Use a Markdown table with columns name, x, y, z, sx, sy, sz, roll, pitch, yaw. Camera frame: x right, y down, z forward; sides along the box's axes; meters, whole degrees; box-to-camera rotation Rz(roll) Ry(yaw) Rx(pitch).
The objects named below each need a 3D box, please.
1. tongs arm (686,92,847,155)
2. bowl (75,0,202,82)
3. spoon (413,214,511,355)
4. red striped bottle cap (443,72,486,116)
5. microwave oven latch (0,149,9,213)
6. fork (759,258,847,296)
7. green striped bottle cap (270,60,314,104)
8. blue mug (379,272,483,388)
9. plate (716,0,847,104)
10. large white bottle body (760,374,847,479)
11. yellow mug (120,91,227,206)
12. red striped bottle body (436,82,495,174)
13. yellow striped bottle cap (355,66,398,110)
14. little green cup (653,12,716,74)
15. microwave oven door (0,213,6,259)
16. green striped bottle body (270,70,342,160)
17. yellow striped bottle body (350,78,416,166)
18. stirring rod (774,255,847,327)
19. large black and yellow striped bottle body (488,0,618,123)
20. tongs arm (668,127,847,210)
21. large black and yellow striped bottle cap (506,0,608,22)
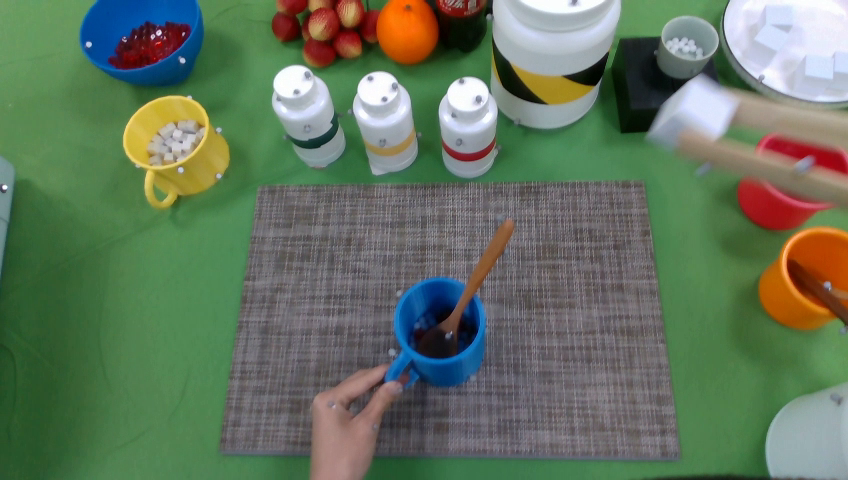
| name | x | y | z | sx | sy | sz | roll | pitch | yaw |
| --- | --- | --- | --- | --- | --- | --- | --- | --- | --- |
| tongs arm | 0.329 | -0.023 | 0.307 | 0.384 | 0.028 | 0.028 | 22 | 61 | 27 |
| bowl | -0.347 | -0.256 | 0.770 | 0.151 | 0.077 | 0.150 | -1 | 68 | 3 |
| spoon | 0.034 | 0.053 | 0.549 | 0.041 | 0.195 | 0.021 | 41 | 41 | 20 |
| red striped bottle cap | 0.042 | -0.150 | 0.619 | 0.044 | 0.018 | 0.044 | 0 | 66 | 0 |
| microwave oven latch | -0.508 | -0.070 | 0.706 | 0.030 | 0.030 | 0.078 | -7 | 68 | 1 |
| fork | 0.400 | 0.055 | 0.549 | 0.028 | 0.019 | 0.205 | -29 | 24 | -14 |
| green striped bottle cap | -0.139 | -0.167 | 0.639 | 0.044 | 0.020 | 0.044 | -1 | 67 | 2 |
| blue mug | 0.002 | 0.098 | 0.580 | 0.116 | 0.106 | 0.082 | -43 | 70 | -13 |
| plate | 0.457 | -0.247 | 0.732 | 0.209 | 0.038 | 0.207 | -1 | 68 | 3 |
| large white bottle body | 0.373 | 0.169 | 0.484 | 0.130 | 0.186 | 0.129 | -1 | 67 | 4 |
| yellow mug | -0.297 | -0.102 | 0.709 | 0.100 | 0.064 | 0.130 | 9 | 69 | 7 |
| red striped bottle body | 0.047 | -0.128 | 0.667 | 0.063 | 0.120 | 0.062 | -3 | 66 | 6 |
| yellow striped bottle cap | -0.050 | -0.159 | 0.630 | 0.044 | 0.019 | 0.044 | -1 | 69 | 3 |
| little green cup | 0.288 | -0.218 | 0.676 | 0.061 | 0.039 | 0.061 | 0 | 65 | 1 |
| microwave oven door | -0.486 | 0.089 | 0.528 | 0.039 | 0.245 | 0.353 | -9 | 67 | 1 |
| green striped bottle body | -0.134 | -0.146 | 0.687 | 0.063 | 0.120 | 0.062 | -1 | 67 | 3 |
| yellow striped bottle body | -0.046 | -0.138 | 0.677 | 0.063 | 0.121 | 0.062 | -2 | 67 | 4 |
| stirring rod | 0.371 | 0.054 | 0.560 | 0.014 | 0.006 | 0.175 | 2 | 24 | 2 |
| large black and yellow striped bottle body | 0.137 | -0.231 | 0.668 | 0.131 | 0.185 | 0.130 | -1 | 67 | 4 |
| tongs arm | 0.318 | -0.005 | 0.298 | 0.381 | 0.027 | 0.050 | 27 | 66 | 29 |
| large black and yellow striped bottle cap | 0.130 | -0.262 | 0.590 | 0.115 | 0.019 | 0.114 | -2 | 66 | 4 |
